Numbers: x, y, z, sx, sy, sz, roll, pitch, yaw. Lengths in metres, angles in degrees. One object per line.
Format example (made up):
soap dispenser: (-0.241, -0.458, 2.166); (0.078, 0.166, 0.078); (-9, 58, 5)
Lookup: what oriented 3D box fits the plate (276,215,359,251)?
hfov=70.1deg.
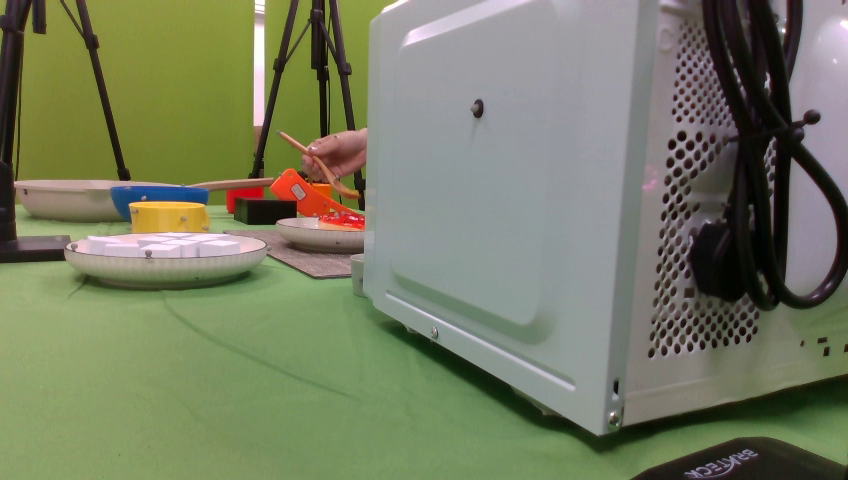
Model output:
plate: (-0.126, -0.012, 0.950); (0.209, 0.038, 0.209); (2, 7, 0)

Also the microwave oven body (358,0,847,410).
microwave oven body: (0.210, -0.051, 0.471); (0.444, 0.260, 0.324); (-1, 7, -28)

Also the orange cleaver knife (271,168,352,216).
orange cleaver knife: (-0.236, -0.084, 1.332); (0.212, 0.077, 0.012); (31, -9, -31)

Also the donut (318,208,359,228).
donut: (-0.118, -0.024, 0.953); (0.099, 0.048, 0.099); (5, 6, 0)

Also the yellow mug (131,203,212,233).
yellow mug: (-0.356, -0.020, 0.878); (0.099, 0.064, 0.131); (5, 7, 22)

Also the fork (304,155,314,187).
fork: (-0.268, -0.134, 1.446); (0.028, 0.018, 0.207); (2, -36, -1)

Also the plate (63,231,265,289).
plate: (-0.288, 0.021, 0.687); (0.208, 0.039, 0.207); (2, 8, 0)

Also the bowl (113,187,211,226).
bowl: (-0.437, -0.046, 1.013); (0.151, 0.077, 0.151); (2, 7, 0)

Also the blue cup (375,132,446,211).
blue cup: (-0.016, -0.104, 0.971); (0.092, 0.100, 0.092); (-35, 0, 0)

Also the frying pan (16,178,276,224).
frying pan: (-0.554, -0.096, 1.266); (0.490, 0.102, 0.305); (-10, 13, -24)

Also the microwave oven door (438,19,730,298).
microwave oven door: (0.181, -0.076, 0.618); (0.358, 0.243, 0.039); (-2, 8, -28)

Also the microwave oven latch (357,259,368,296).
microwave oven latch: (-0.019, 0.031, 0.528); (0.079, 0.029, 0.030); (-1, 7, -25)

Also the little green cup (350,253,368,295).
little green cup: (-0.048, 0.035, 0.632); (0.061, 0.038, 0.061); (3, 6, 0)

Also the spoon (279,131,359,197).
spoon: (-0.173, -0.126, 0.988); (0.193, 0.021, 0.042); (44, 19, 21)
